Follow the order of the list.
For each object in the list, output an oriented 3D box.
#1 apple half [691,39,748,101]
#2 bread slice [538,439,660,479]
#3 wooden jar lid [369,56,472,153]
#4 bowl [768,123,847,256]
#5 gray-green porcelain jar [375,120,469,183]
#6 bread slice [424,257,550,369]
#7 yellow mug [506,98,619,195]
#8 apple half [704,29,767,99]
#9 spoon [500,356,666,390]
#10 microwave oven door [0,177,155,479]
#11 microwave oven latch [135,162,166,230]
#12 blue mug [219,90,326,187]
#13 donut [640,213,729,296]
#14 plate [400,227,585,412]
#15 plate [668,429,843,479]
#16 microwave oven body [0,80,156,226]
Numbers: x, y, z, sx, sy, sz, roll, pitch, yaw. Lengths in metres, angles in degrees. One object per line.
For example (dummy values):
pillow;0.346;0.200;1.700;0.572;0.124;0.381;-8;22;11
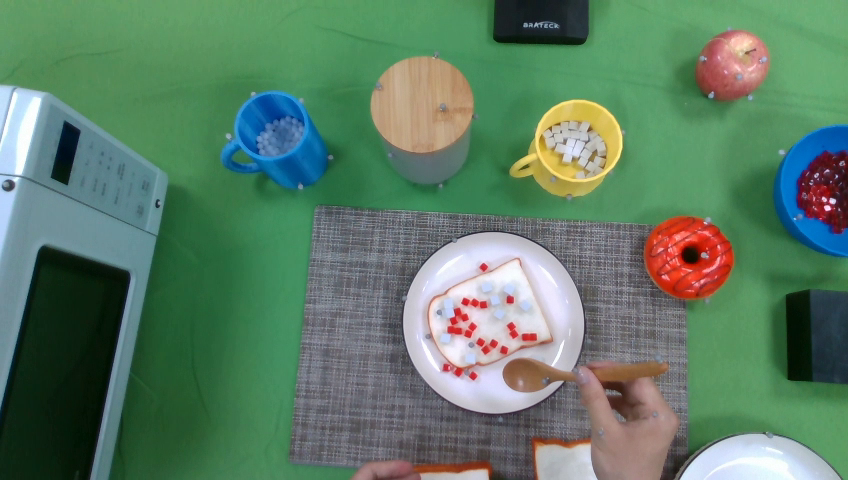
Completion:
apple half;0.343;-0.195;0.726;0.033;0.081;0.081;-29;79;-8
bread slice;0.190;0.267;0.638;0.135;0.018;0.106;-1;76;-18
wooden jar lid;-0.004;-0.141;0.639;0.108;0.021;0.108;0;77;2
bowl;0.460;-0.049;0.694;0.151;0.077;0.151;0;80;2
gray-green porcelain jar;-0.001;-0.128;0.700;0.106;0.127;0.105;0;79;2
bread slice;0.068;0.090;0.699;0.131;0.019;0.104;-23;79;-3
yellow mug;0.160;-0.104;0.721;0.131;0.064;0.099;-20;80;-1
apple half;0.376;-0.215;0.730;0.053;0.075;0.080;-28;75;-9
spoon;0.141;0.124;0.568;0.021;0.193;0.042;-33;98;-34
microwave oven door;-0.366;0.141;0.584;0.039;0.245;0.354;6;79;4
microwave oven latch;-0.332;-0.054;0.723;0.030;0.029;0.079;9;80;3
blue mug;-0.182;-0.110;0.713;0.116;0.106;0.082;-22;79;-2
donut;0.300;0.017;0.700;0.099;0.048;0.098;0;80;2
plate;0.078;0.090;0.698;0.207;0.039;0.206;0;79;2
plate;0.355;0.308;0.651;0.209;0.038;0.208;0;79;2
microwave oven body;-0.504;0.083;0.605;0.326;0.261;0.440;7;80;3
